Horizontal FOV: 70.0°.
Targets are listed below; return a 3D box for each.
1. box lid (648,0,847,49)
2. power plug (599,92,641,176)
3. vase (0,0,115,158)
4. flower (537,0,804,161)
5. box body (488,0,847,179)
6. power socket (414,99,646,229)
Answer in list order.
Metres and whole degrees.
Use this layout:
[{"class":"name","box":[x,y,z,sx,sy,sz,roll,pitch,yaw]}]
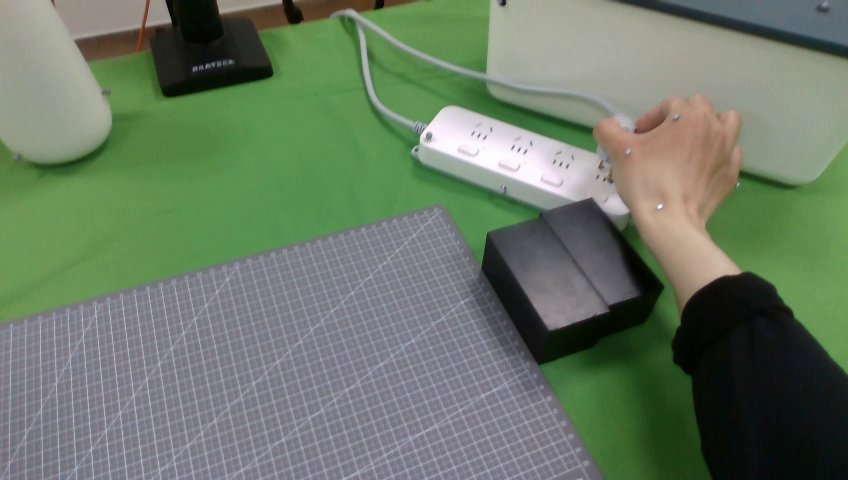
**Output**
[{"class":"box lid","box":[0.273,-0.281,0.572,0.370,0.015,0.262,20,53,14]},{"class":"power plug","box":[0.178,-0.094,0.549,0.035,0.053,0.072,21,40,3]},{"class":"vase","box":[-0.347,-0.169,0.524,0.098,0.202,0.097,2,49,-2]},{"class":"flower","box":[0.270,-0.199,0.691,0.044,0.038,0.359,-44,68,-5]},{"class":"box body","box":[0.270,-0.235,0.629,0.362,0.162,0.253,20,53,14]},{"class":"power socket","box":[0.100,-0.076,0.575,0.225,0.033,0.072,23,53,16]}]
